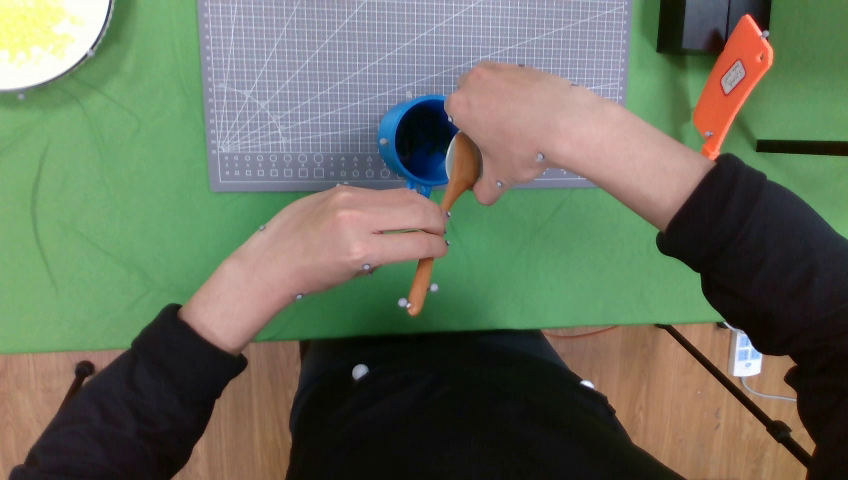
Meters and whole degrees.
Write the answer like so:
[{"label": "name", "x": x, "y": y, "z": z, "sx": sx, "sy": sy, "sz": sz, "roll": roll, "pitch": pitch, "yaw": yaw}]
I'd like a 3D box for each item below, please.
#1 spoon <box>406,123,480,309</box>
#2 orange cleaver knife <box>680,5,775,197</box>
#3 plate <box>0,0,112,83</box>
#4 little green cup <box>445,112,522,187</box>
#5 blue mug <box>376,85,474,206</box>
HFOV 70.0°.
[{"label": "spoon", "x": 0.016, "y": -0.024, "z": 0.468, "sx": 0.042, "sy": 0.021, "sz": 0.192, "roll": 53, "pitch": 43, "yaw": -36}, {"label": "orange cleaver knife", "x": 0.319, "y": -0.144, "z": 0.665, "sx": 0.012, "sy": 0.076, "sz": 0.213, "roll": -3, "pitch": 133, "yaw": -11}, {"label": "plate", "x": -0.378, "y": -0.243, "z": 0.525, "sx": 0.210, "sy": 0.038, "sz": 0.210, "roll": -2, "pitch": 103, "yaw": -11}, {"label": "little green cup", "x": 0.053, "y": -0.075, "z": 0.524, "sx": 0.039, "sy": 0.061, "sz": 0.061, "roll": 14, "pitch": 100, "yaw": -44}, {"label": "blue mug", "x": -0.003, "y": -0.091, "z": 0.598, "sx": 0.082, "sy": 0.105, "sz": 0.117, "roll": 6, "pitch": 100, "yaw": -13}]
